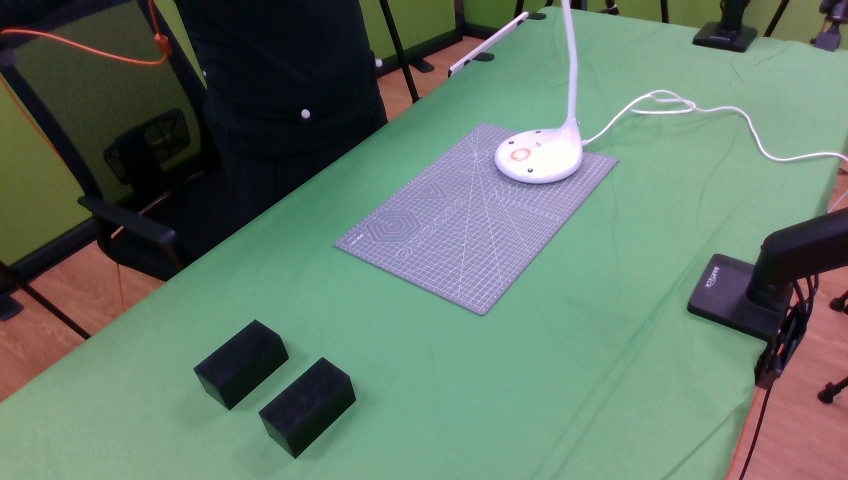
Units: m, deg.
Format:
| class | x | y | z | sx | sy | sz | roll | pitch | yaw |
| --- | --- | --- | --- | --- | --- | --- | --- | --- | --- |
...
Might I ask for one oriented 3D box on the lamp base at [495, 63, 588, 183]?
| class | x | y | z | sx | sy | sz | roll | pitch | yaw |
| --- | --- | --- | --- | --- | --- | --- | --- | --- | --- |
| lamp base | 0.214 | -0.217 | 1.067 | 0.180 | 0.181 | 0.159 | -20 | 42 | -18 |
